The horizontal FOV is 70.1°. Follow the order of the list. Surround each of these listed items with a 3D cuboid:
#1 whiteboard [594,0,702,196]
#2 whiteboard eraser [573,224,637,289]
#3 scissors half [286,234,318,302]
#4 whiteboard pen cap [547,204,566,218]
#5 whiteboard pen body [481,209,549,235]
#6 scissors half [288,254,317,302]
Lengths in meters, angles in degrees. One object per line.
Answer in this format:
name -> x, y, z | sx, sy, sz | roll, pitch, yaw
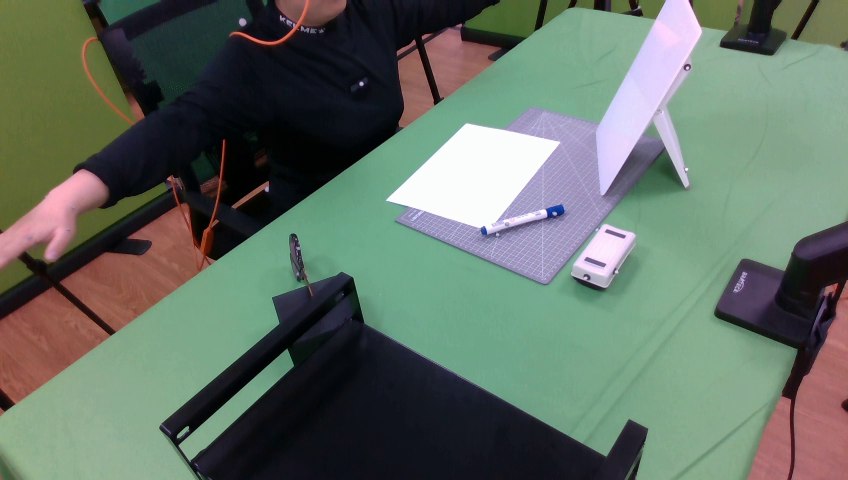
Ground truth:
whiteboard -> 0.420, -0.227, 1.010 | 0.144, 0.305, 0.216 | 18, 42, -2
whiteboard eraser -> 0.267, 0.025, 0.890 | 0.055, 0.042, 0.113 | 19, 47, 31
scissors half -> -0.178, 0.040, 0.884 | 0.013, 0.040, 0.173 | -12, 37, -20
whiteboard pen cap -> 0.216, -0.046, 0.997 | 0.033, 0.018, 0.018 | -18, 41, -10
whiteboard pen body -> 0.160, -0.032, 0.985 | 0.141, 0.017, 0.017 | -16, 41, -12
scissors half -> -0.178, 0.058, 0.894 | 0.013, 0.040, 0.174 | -17, 21, -17
